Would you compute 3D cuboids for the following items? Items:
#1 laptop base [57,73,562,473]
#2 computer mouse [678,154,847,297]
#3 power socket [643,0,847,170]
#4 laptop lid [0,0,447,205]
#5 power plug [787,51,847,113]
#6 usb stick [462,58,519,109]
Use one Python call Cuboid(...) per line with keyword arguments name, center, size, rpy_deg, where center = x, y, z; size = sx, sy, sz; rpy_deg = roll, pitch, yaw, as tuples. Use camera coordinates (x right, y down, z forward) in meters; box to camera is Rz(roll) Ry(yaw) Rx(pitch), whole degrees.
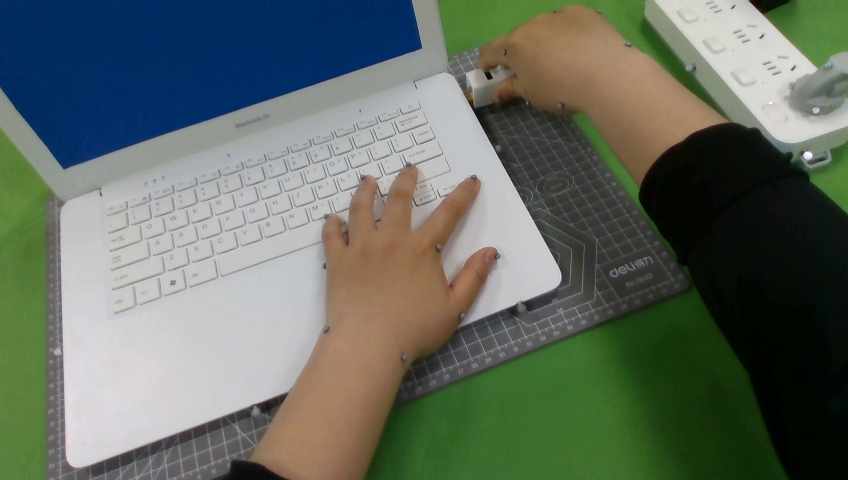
Cuboid(name="laptop base", center=(-0.103, 0.004, 0.469), size=(0.354, 0.023, 0.233), rpy_deg=(-20, 61, -5))
Cuboid(name="computer mouse", center=(0.232, -0.017, 0.420), size=(0.063, 0.041, 0.116), rpy_deg=(-21, 53, -3))
Cuboid(name="power socket", center=(0.262, -0.150, 0.503), size=(0.072, 0.033, 0.224), rpy_deg=(-19, 56, -2))
Cuboid(name="laptop lid", center=(-0.166, -0.168, 0.449), size=(0.357, 0.244, 0.013), rpy_deg=(-21, 44, -4))
Cuboid(name="power plug", center=(0.308, -0.113, 0.448), size=(0.072, 0.053, 0.035), rpy_deg=(-9, 59, 2))
Cuboid(name="usb stick", center=(0.050, -0.131, 0.517), size=(0.059, 0.027, 0.021), rpy_deg=(-23, 52, -4))
